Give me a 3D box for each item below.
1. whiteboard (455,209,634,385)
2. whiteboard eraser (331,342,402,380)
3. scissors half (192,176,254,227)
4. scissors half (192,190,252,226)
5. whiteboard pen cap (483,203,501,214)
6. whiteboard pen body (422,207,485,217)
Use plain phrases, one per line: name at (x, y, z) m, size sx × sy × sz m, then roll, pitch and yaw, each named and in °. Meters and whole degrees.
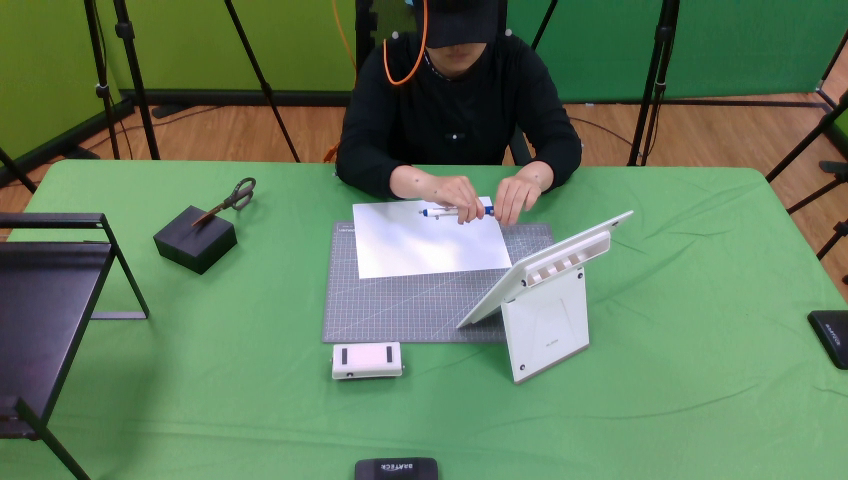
whiteboard at (0.211, 0.111, 0.955) m, size 0.217 × 0.306 × 0.143 m, roll -21°, pitch 71°, yaw -23°
whiteboard eraser at (-0.094, 0.198, 0.986) m, size 0.113 × 0.042 × 0.055 m, roll -2°, pitch 44°, yaw -6°
scissors half at (-0.388, -0.075, 1.174) m, size 0.013 × 0.040 × 0.174 m, roll 29°, pitch 47°, yaw 8°
scissors half at (-0.393, -0.060, 1.187) m, size 0.013 × 0.040 × 0.175 m, roll 25°, pitch 29°, yaw 12°
whiteboard pen cap at (0.124, -0.057, 1.114) m, size 0.033 × 0.018 × 0.018 m, roll -12°, pitch 48°, yaw -8°
whiteboard pen body at (0.066, -0.052, 1.104) m, size 0.141 × 0.017 × 0.017 m, roll -2°, pitch 46°, yaw -12°
